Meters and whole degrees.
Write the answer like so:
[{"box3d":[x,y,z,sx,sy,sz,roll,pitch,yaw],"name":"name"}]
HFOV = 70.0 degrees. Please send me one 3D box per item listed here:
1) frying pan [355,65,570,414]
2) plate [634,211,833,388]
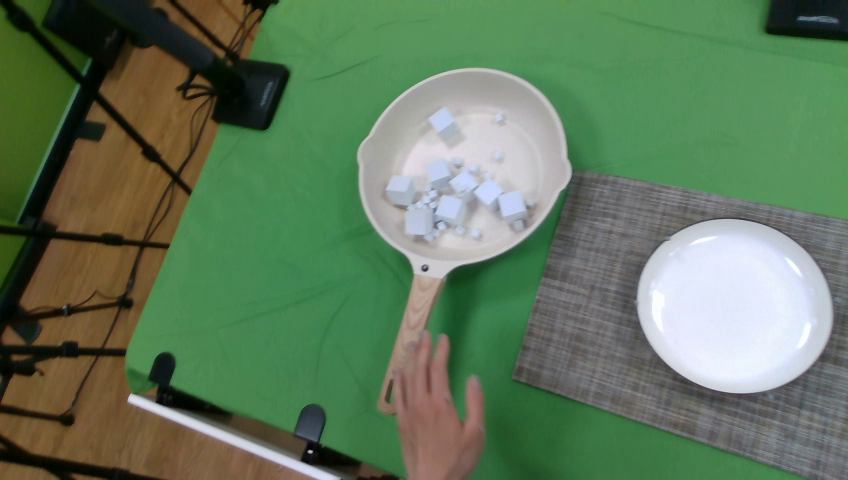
[{"box3d":[0.021,-0.009,0.813,0.305,0.104,0.485,11,68,21],"name":"frying pan"},{"box3d":[0.356,0.069,0.712,0.207,0.039,0.206,-5,72,17],"name":"plate"}]
